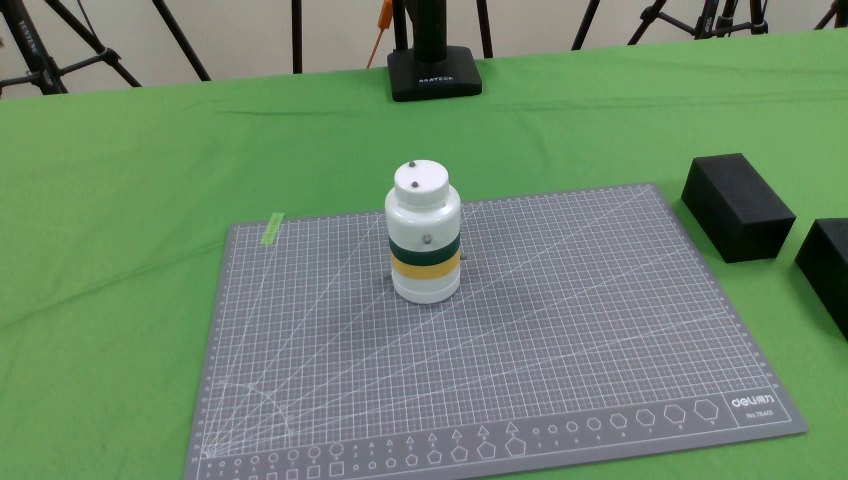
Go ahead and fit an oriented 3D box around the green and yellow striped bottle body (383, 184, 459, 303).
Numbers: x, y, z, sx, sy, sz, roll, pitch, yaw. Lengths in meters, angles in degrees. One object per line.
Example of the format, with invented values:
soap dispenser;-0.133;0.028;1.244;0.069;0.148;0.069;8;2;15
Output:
green and yellow striped bottle body;-0.001;-0.007;0.516;0.063;0.121;0.062;-2;44;2

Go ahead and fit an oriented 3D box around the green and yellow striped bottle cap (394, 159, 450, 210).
green and yellow striped bottle cap;-0.002;-0.045;0.480;0.045;0.020;0.045;-2;45;3
